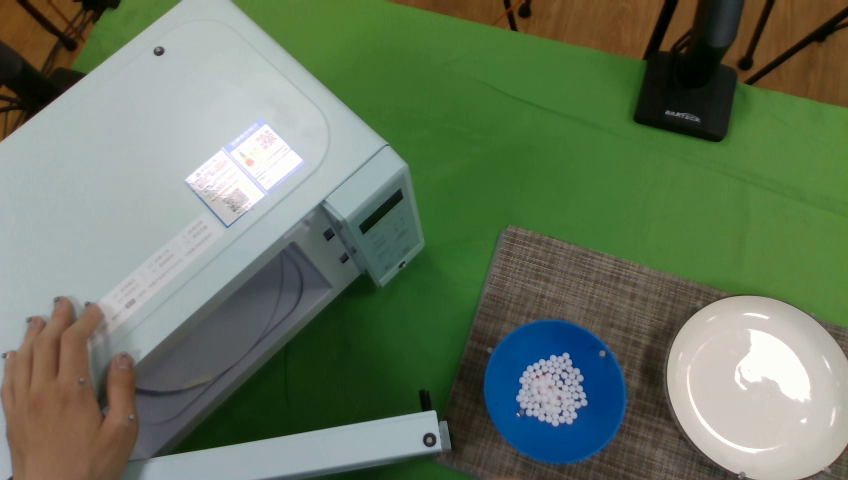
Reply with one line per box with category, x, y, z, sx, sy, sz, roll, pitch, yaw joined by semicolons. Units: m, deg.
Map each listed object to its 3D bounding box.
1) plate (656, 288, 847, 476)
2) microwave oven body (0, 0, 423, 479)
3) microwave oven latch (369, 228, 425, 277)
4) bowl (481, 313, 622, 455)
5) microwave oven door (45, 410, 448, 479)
plate;0.368;0.159;0.689;0.207;0.039;0.206;-1;72;3
microwave oven body;-0.271;-0.001;0.664;0.441;0.262;0.324;-43;75;-9
microwave oven latch;-0.034;0.009;0.748;0.079;0.030;0.030;-41;75;-9
bowl;0.138;0.163;0.681;0.151;0.077;0.150;-1;72;3
microwave oven door;-0.157;0.207;0.583;0.356;0.245;0.039;-10;72;0
